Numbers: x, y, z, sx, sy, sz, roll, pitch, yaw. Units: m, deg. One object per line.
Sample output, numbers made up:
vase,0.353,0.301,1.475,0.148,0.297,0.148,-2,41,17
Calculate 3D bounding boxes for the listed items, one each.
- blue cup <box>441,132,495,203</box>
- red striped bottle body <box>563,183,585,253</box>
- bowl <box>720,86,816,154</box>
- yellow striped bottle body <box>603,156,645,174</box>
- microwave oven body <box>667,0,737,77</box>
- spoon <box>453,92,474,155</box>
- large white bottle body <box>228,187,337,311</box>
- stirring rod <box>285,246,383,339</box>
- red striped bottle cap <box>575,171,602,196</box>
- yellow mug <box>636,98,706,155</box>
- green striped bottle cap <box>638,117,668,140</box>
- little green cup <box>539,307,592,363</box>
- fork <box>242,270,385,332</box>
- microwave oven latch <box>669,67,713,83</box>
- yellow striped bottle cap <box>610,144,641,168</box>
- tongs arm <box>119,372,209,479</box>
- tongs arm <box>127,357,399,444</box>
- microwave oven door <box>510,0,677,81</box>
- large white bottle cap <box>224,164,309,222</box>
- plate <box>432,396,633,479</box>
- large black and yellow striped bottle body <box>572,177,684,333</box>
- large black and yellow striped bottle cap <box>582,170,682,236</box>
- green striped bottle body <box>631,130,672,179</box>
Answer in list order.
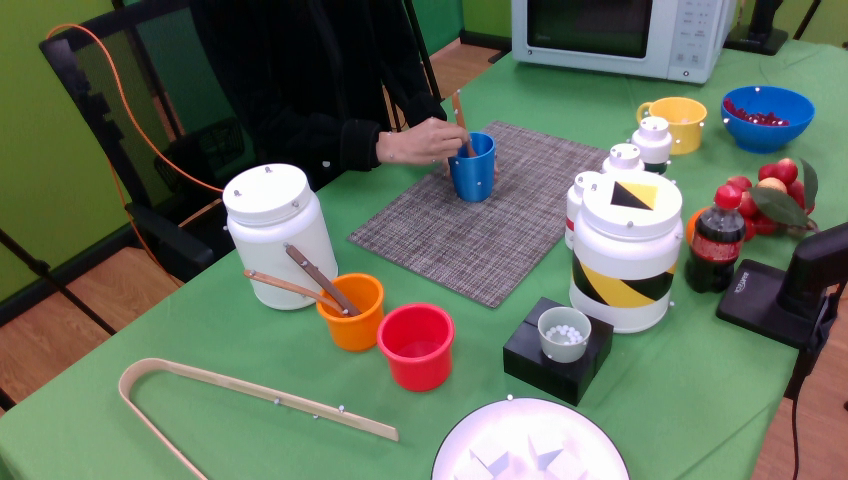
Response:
blue cup,0.083,-0.120,1.041,0.092,0.100,0.092,-5,39,5
red striped bottle body,0.246,-0.041,0.910,0.063,0.120,0.062,-2,38,2
bowl,0.605,-0.206,1.081,0.151,0.077,0.150,-5,40,5
yellow striped bottle body,0.313,-0.089,0.956,0.063,0.121,0.062,-4,39,4
microwave oven body,0.462,-0.552,1.369,0.439,0.261,0.326,15,45,26
spoon,0.073,-0.161,1.000,0.042,0.195,0.021,-33,41,-11
large white bottle body,-0.207,-0.002,0.883,0.130,0.185,0.130,-4,40,4
stirring rod,-0.121,0.071,0.819,0.176,0.006,0.014,44,52,-6
red striped bottle cap,0.242,-0.082,0.876,0.044,0.018,0.044,-5,44,5
yellow mug,0.453,-0.217,1.128,0.100,0.064,0.129,-34,46,-27
green striped bottle cap,0.369,-0.180,0.974,0.044,0.020,0.044,-4,41,4
little green cup,0.168,0.115,0.721,0.061,0.039,0.061,-4,42,4
fork,-0.142,0.082,0.802,0.209,0.018,0.028,28,38,-26
microwave oven latch,0.556,-0.348,1.261,0.078,0.029,0.030,16,46,27
yellow striped bottle cap,0.307,-0.128,0.923,0.044,0.019,0.044,-6,39,5
tongs arm,-0.258,0.257,0.700,0.384,0.028,0.028,24,55,34
tongs arm,-0.213,0.205,0.755,0.382,0.026,0.051,12,46,23
microwave oven door,0.354,-0.478,1.290,0.353,0.245,0.039,15,45,25
large white bottle cap,-0.216,-0.066,0.829,0.115,0.018,0.114,-4,40,4
plate,0.112,0.261,0.634,0.209,0.038,0.208,-5,40,4
large black and yellow striped bottle body,0.262,0.017,0.788,0.131,0.185,0.130,-5,40,4
large black and yellow striped bottle cap,0.252,-0.048,0.735,0.115,0.019,0.114,-3,40,3
green striped bottle body,0.375,-0.140,1.007,0.063,0.120,0.063,-5,40,5
